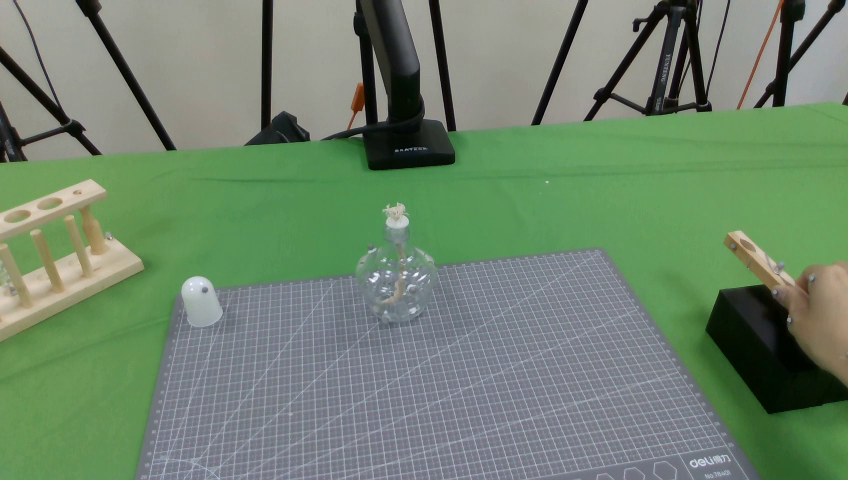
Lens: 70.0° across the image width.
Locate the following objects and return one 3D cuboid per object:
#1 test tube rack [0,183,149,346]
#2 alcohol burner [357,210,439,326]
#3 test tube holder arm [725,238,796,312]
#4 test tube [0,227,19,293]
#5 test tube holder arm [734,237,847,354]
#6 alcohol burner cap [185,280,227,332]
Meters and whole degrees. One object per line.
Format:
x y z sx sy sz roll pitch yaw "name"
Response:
-0.394 0.040 0.557 0.066 0.086 0.242 28 44 32 "test tube rack"
-0.024 0.022 0.559 0.078 0.120 0.077 1 37 -1 "alcohol burner"
0.303 0.030 0.544 0.010 0.015 0.087 -19 42 -7 "test tube holder arm"
-0.396 -0.016 0.549 0.017 0.151 0.017 0 30 1 "test tube"
0.322 0.055 0.512 0.013 0.015 0.176 -19 42 -8 "test tube holder arm"
-0.205 0.058 0.567 0.034 0.048 0.033 1 37 0 "alcohol burner cap"
